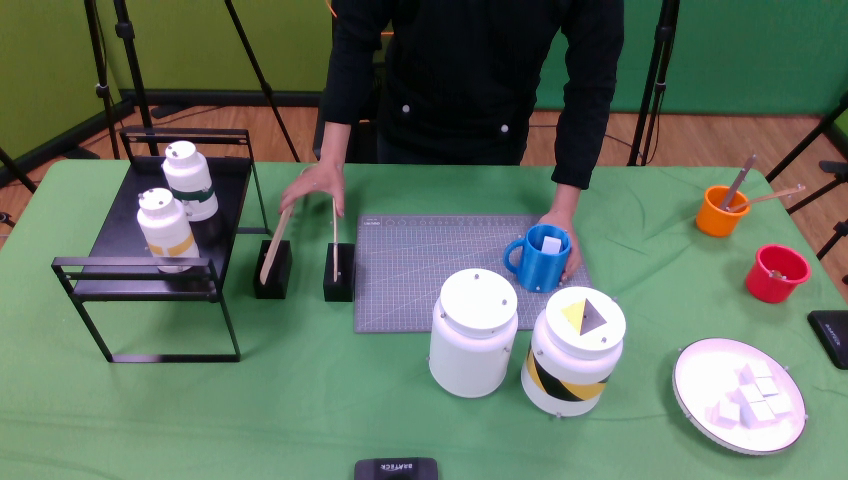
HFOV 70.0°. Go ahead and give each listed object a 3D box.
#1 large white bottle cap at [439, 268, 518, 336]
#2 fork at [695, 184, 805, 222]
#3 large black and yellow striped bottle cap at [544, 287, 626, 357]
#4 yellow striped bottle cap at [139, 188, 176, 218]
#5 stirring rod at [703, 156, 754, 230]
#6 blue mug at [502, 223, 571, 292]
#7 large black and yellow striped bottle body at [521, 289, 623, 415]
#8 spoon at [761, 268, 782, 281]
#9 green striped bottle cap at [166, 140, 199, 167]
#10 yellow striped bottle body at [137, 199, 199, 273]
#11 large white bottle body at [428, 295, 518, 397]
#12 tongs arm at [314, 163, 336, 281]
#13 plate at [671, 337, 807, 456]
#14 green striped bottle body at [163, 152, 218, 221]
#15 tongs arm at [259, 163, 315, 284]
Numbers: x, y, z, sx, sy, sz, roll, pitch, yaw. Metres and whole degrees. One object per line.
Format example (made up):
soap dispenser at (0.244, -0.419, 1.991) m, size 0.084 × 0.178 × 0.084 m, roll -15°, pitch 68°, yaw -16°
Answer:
large white bottle cap at (0.080, 0.089, 0.888) m, size 0.115 × 0.018 × 0.114 m, roll 2°, pitch 47°, yaw -2°
fork at (0.657, -0.075, 1.230) m, size 0.207 × 0.019 × 0.028 m, roll -23°, pitch 34°, yaw 37°
large black and yellow striped bottle cap at (0.232, 0.116, 0.876) m, size 0.115 × 0.019 × 0.114 m, roll 1°, pitch 46°, yaw -1°
yellow striped bottle cap at (-0.363, -0.051, 0.826) m, size 0.044 × 0.019 × 0.044 m, roll 1°, pitch 47°, yaw -1°
stirring rod at (0.631, -0.098, 1.258) m, size 0.014 × 0.006 × 0.176 m, roll 33°, pitch 95°, yaw 29°
blue mug at (0.202, 0.031, 1.121) m, size 0.116 × 0.106 × 0.082 m, roll 5°, pitch 47°, yaw 1°
large black and yellow striped bottle body at (0.228, 0.173, 0.938) m, size 0.131 × 0.185 × 0.130 m, roll 2°, pitch 47°, yaw -2°
spoon at (0.638, 0.060, 1.105) m, size 0.041 × 0.021 × 0.194 m, roll 38°, pitch 11°, yaw 24°
green striped bottle cap at (-0.360, -0.129, 0.902) m, size 0.044 × 0.020 × 0.044 m, roll 1°, pitch 48°, yaw -1°
yellow striped bottle body at (-0.366, -0.014, 0.864) m, size 0.063 × 0.121 × 0.062 m, roll 2°, pitch 46°, yaw -2°
large white bottle body at (0.076, 0.147, 0.950) m, size 0.131 × 0.185 × 0.130 m, roll 2°, pitch 46°, yaw -2°
tongs arm at (-0.194, -0.048, 1.168) m, size 0.051 × 0.026 × 0.382 m, roll -4°, pitch 36°, yaw -4°
plate at (0.503, 0.254, 0.984) m, size 0.208 × 0.039 × 0.206 m, roll 2°, pitch 46°, yaw -2°
green striped bottle body at (-0.363, -0.092, 0.939) m, size 0.063 × 0.120 × 0.063 m, roll 2°, pitch 46°, yaw -2°
tongs arm at (-0.260, -0.046, 1.164) m, size 0.028 × 0.028 × 0.385 m, roll -2°, pitch 35°, yaw 5°
